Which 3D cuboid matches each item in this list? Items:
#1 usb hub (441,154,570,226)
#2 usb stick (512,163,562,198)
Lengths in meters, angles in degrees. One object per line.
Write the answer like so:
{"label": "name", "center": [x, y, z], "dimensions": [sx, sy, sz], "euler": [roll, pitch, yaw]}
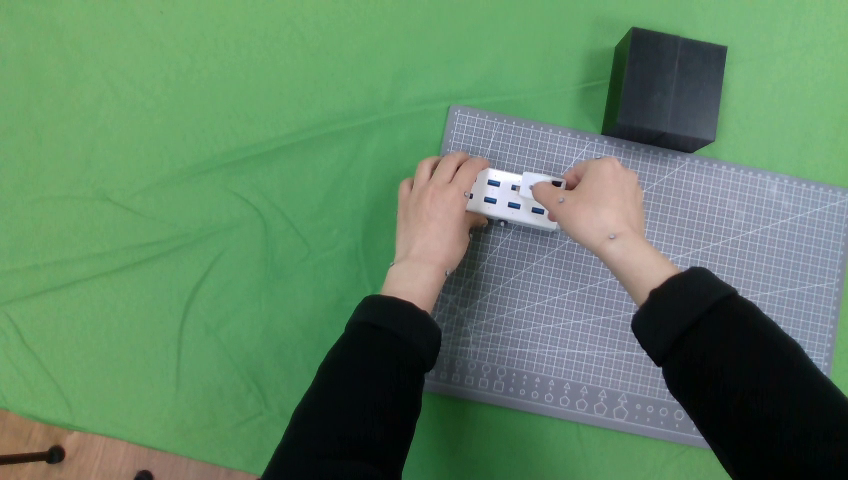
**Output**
{"label": "usb hub", "center": [0.084, -0.051, 0.626], "dimensions": [0.125, 0.025, 0.049], "euler": [12, 85, -2]}
{"label": "usb stick", "center": [0.106, -0.059, 0.587], "dimensions": [0.021, 0.058, 0.027], "euler": [10, 97, -27]}
